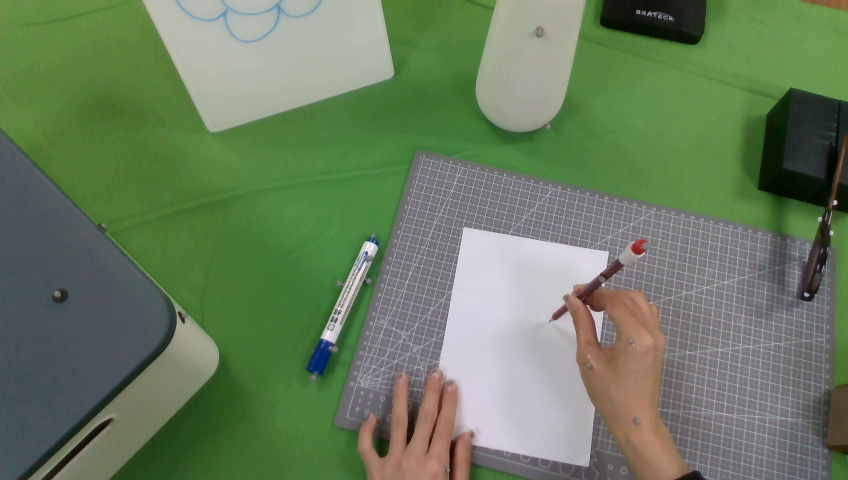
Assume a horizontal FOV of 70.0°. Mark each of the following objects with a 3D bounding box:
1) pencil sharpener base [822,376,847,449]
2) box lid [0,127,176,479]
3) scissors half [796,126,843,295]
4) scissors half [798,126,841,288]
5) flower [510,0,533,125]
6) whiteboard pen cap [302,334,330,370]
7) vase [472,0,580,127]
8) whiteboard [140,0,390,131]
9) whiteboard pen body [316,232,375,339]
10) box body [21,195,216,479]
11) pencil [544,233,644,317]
[{"bbox_3d":[0.411,0.152,0.518,0.076,0.107,0.061,18,70,2],"label":"pencil sharpener base"},{"bbox_3d":[-0.392,0.030,0.442,0.370,0.015,0.263,40,74,12],"label":"box lid"},{"bbox_3d":[0.394,-0.030,0.601,0.012,0.040,0.175,14,89,30],"label":"scissors half"},{"bbox_3d":[0.386,-0.035,0.583,0.013,0.040,0.174,15,71,25],"label":"scissors half"},{"bbox_3d":[0.097,-0.241,0.521,0.044,0.365,0.038,7,52,6],"label":"flower"},{"bbox_3d":[-0.101,0.105,0.573,0.018,0.018,0.033,20,67,7],"label":"whiteboard pen cap"},{"bbox_3d":[0.100,-0.198,0.594,0.098,0.201,0.097,0,68,0],"label":"vase"},{"bbox_3d":[-0.178,-0.299,0.602,0.217,0.308,0.142,-19,52,-7],"label":"whiteboard"},{"bbox_3d":[-0.081,0.054,0.594,0.017,0.017,0.140,20,69,7],"label":"whiteboard pen body"},{"bbox_3d":[-0.392,0.057,0.512,0.362,0.161,0.254,40,74,12],"label":"box body"},{"bbox_3d":[0.134,0.037,0.506,0.012,0.195,0.012,4,66,-8],"label":"pencil"}]
